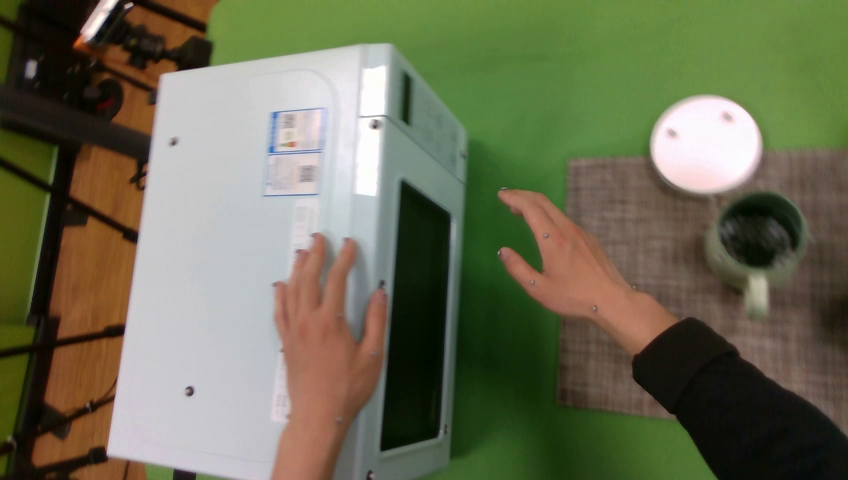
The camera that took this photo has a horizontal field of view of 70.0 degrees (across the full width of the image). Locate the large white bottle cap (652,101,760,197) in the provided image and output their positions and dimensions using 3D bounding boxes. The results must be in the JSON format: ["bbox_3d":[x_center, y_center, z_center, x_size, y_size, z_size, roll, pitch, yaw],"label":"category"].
[{"bbox_3d":[0.324,-0.106,0.699,0.114,0.018,0.114,-6,73,21],"label":"large white bottle cap"}]

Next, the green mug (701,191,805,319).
[{"bbox_3d":[0.337,0.018,0.622,0.092,0.106,0.125,0,79,22],"label":"green mug"}]

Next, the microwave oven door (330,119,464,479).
[{"bbox_3d":[-0.018,0.078,0.664,0.039,0.246,0.354,0,79,23],"label":"microwave oven door"}]

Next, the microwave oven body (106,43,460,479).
[{"bbox_3d":[-0.148,0.038,0.731,0.324,0.262,0.440,0,80,22],"label":"microwave oven body"}]

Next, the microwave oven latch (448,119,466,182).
[{"bbox_3d":[0.039,-0.116,0.793,0.030,0.030,0.079,0,80,22],"label":"microwave oven latch"}]
